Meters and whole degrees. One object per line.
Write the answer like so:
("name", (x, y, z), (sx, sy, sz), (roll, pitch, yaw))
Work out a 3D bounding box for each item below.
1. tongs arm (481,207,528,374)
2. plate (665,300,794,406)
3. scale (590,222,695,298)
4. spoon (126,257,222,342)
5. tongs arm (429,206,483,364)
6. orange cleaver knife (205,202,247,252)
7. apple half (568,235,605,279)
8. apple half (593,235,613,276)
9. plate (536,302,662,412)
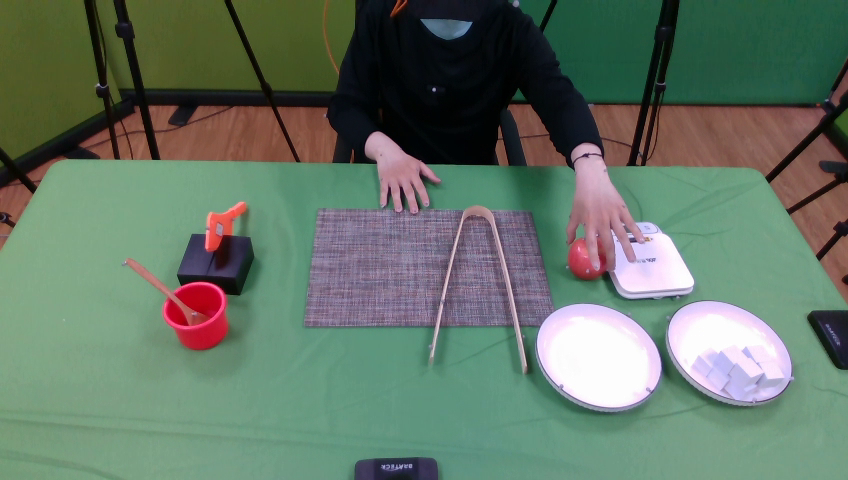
("tongs arm", (0.149, 0.077, 1.124), (0.028, 0.028, 0.385), (-4, 46, -2))
("plate", (0.513, 0.194, 1.033), (0.208, 0.039, 0.206), (2, 46, -2))
("scale", (0.424, 0.031, 1.189), (0.149, 0.032, 0.199), (-3, 46, -7))
("spoon", (-0.408, 0.096, 0.990), (0.194, 0.021, 0.041), (50, 53, -18))
("tongs arm", (0.065, 0.069, 1.124), (0.051, 0.026, 0.382), (8, 45, 5))
("orange cleaver knife", (-0.374, -0.029, 1.149), (0.012, 0.077, 0.211), (4, 13, 0))
("apple half", (0.302, 0.035, 1.148), (0.053, 0.075, 0.080), (-10, 51, -8))
("apple half", (0.340, 0.029, 1.155), (0.033, 0.082, 0.080), (-9, 47, -9))
("plate", (0.288, 0.197, 1.016), (0.209, 0.038, 0.208), (2, 46, -2))
